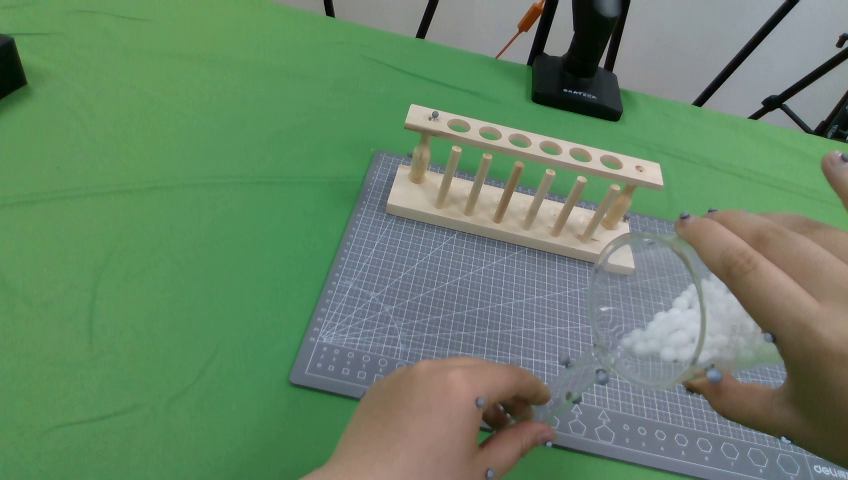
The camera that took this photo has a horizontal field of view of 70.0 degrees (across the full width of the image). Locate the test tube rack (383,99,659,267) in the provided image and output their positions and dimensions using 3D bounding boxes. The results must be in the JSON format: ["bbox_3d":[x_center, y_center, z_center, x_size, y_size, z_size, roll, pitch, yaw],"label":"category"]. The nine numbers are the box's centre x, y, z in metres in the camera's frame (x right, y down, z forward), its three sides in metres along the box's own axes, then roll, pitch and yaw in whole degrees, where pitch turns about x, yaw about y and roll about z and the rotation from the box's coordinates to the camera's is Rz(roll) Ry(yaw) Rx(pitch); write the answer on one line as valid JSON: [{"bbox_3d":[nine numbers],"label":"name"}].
[{"bbox_3d":[0.090,-0.053,0.577,0.242,0.086,0.066,14,44,-2],"label":"test tube rack"}]

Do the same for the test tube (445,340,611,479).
[{"bbox_3d":[0.055,0.106,0.358,0.017,0.150,0.017,24,37,-19],"label":"test tube"}]

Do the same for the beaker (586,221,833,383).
[{"bbox_3d":[0.143,0.031,0.307,0.101,0.084,0.073,-2,50,-25],"label":"beaker"}]
